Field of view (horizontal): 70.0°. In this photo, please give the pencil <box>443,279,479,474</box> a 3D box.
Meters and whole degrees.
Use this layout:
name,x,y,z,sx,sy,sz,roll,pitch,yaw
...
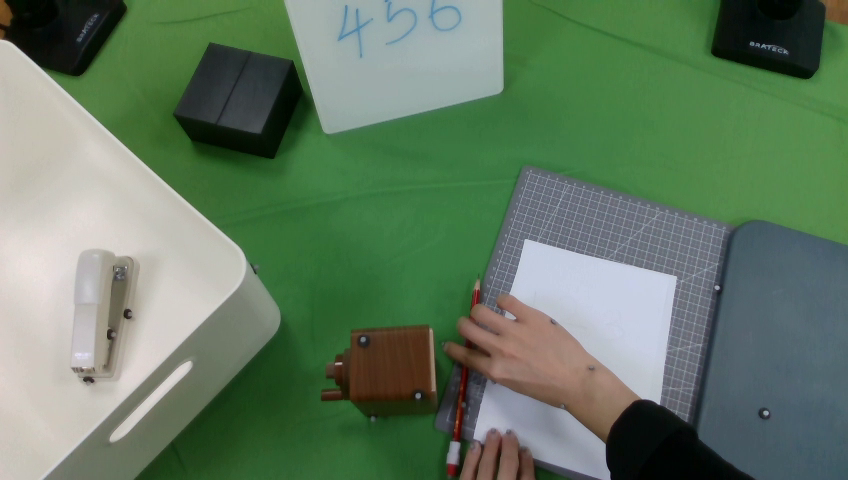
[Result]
name,x,y,z,sx,sy,sz,roll,pitch,yaw
pencil,0.038,0.125,0.586,0.012,0.012,0.192,9,65,5

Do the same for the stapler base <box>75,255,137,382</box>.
name,x,y,z,sx,sy,sz,roll,pitch,yaw
stapler base,-0.318,0.073,0.601,0.041,0.024,0.129,-2,70,2

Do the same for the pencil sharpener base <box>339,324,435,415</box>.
name,x,y,z,sx,sy,sz,roll,pitch,yaw
pencil sharpener base,-0.030,0.118,0.538,0.077,0.108,0.061,-3,68,1

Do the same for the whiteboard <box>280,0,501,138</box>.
name,x,y,z,sx,sy,sz,roll,pitch,yaw
whiteboard,-0.045,-0.293,0.634,0.217,0.308,0.142,-14,48,-4

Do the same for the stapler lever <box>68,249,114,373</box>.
name,x,y,z,sx,sy,sz,roll,pitch,yaw
stapler lever,-0.318,0.065,0.576,0.027,0.040,0.117,-2,70,3

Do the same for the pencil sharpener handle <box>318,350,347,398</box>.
name,x,y,z,sx,sy,sz,roll,pitch,yaw
pencil sharpener handle,-0.081,0.120,0.525,0.030,0.068,0.035,-3,51,1

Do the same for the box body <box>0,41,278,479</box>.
name,x,y,z,sx,sy,sz,roll,pitch,yaw
box body,-0.344,0.031,0.549,0.362,0.161,0.253,38,73,15

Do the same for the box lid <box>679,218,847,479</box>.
name,x,y,z,sx,sy,sz,roll,pitch,yaw
box lid,0.387,0.168,0.563,0.263,0.015,0.369,18,69,7
